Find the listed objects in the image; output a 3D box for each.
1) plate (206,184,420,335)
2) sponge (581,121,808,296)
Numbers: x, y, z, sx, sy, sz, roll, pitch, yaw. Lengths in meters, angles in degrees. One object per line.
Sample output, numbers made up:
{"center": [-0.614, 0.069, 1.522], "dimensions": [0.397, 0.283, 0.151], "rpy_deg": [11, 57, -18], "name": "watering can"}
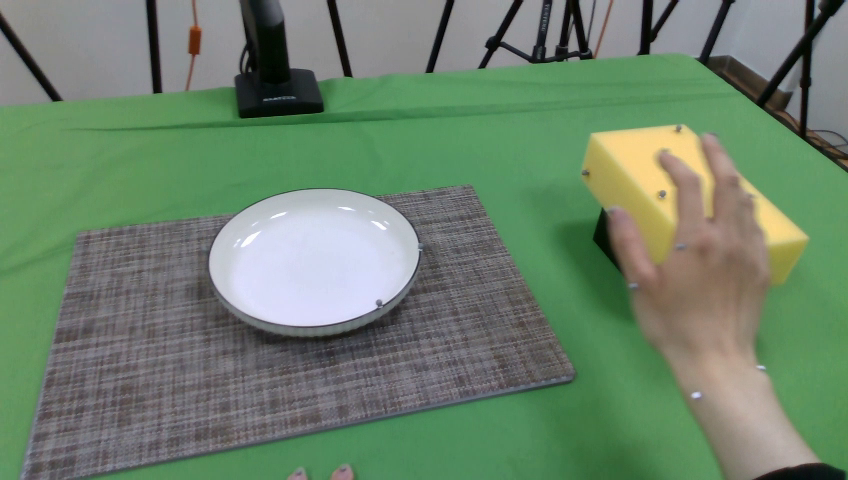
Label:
{"center": [-0.108, 0.019, 0.612], "dimensions": [0.208, 0.039, 0.205], "rpy_deg": [3, 41, -2], "name": "plate"}
{"center": [0.264, -0.042, 0.623], "dimensions": [0.118, 0.061, 0.204], "rpy_deg": [-8, 43, -13], "name": "sponge"}
